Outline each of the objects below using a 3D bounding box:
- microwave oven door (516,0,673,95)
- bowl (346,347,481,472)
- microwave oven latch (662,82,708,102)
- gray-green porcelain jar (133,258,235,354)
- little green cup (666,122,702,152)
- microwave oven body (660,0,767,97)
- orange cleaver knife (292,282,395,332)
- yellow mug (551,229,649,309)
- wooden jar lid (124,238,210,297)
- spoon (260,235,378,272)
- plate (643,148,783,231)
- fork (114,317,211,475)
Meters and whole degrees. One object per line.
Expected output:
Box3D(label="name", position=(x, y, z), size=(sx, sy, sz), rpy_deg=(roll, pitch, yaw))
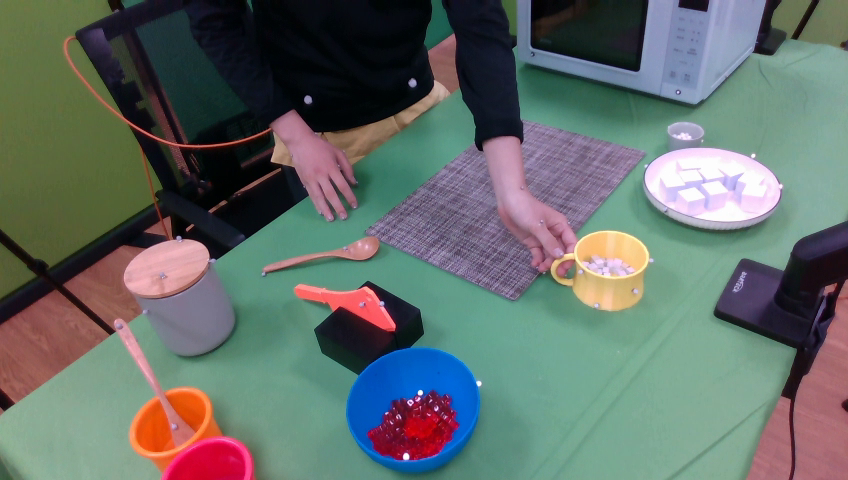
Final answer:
Box3D(label="microwave oven door", position=(0.344, -0.458, 1.256), size=(0.353, 0.245, 0.039), rpy_deg=(26, 52, 33))
Box3D(label="bowl", position=(-0.008, 0.205, 0.691), size=(0.151, 0.077, 0.150), rpy_deg=(-4, 40, 4))
Box3D(label="microwave oven latch", position=(0.517, -0.298, 1.203), size=(0.078, 0.029, 0.030), rpy_deg=(28, 52, 35))
Box3D(label="gray-green porcelain jar", position=(-0.328, 0.086, 0.836), size=(0.106, 0.127, 0.105), rpy_deg=(-4, 41, 4))
Box3D(label="little green cup", position=(0.471, -0.184, 1.102), size=(0.061, 0.039, 0.061), rpy_deg=(-5, 41, 5))
Box3D(label="microwave oven body", position=(0.473, -0.517, 1.314), size=(0.438, 0.261, 0.327), rpy_deg=(26, 51, 34))
Box3D(label="orange cleaver knife", position=(-0.116, 0.091, 0.835), size=(0.209, 0.077, 0.012), rpy_deg=(2, 32, 48))
Box3D(label="yellow mug", position=(0.246, 0.040, 0.855), size=(0.130, 0.064, 0.099), rpy_deg=(0, 42, 9))
Box3D(label="wooden jar lid", position=(-0.334, 0.039, 0.794), size=(0.108, 0.021, 0.108), rpy_deg=(-2, 40, 2))
Box3D(label="spoon", position=(-0.167, 0.024, 0.966), size=(0.194, 0.022, 0.041), rpy_deg=(-10, 58, -3))
Box3D(label="plate", position=(0.464, -0.079, 0.986), size=(0.207, 0.039, 0.206), rpy_deg=(-4, 40, 4))
Box3D(label="fork", position=(-0.309, 0.180, 0.708), size=(0.028, 0.018, 0.207), rpy_deg=(-29, 89, -26))
